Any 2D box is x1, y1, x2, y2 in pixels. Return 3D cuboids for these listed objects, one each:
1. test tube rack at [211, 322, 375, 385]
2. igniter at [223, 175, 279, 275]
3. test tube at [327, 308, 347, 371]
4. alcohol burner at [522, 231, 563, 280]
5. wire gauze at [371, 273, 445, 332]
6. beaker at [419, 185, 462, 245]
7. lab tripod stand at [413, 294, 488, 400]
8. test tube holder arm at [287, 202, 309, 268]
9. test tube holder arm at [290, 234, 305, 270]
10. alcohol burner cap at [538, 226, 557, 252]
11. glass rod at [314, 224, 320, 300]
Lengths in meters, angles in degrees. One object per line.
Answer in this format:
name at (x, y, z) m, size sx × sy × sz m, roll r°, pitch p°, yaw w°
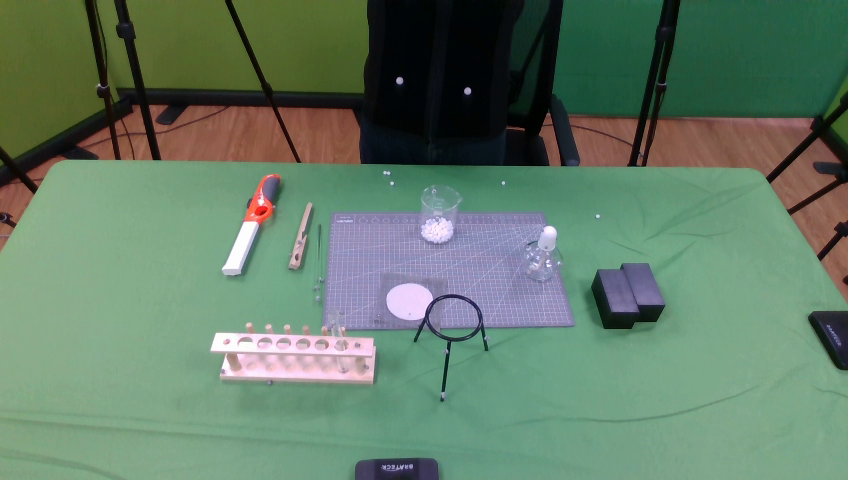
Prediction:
test tube rack at (-0.203, 0.176, 0.969) m, size 0.242 × 0.085 × 0.066 m, roll 3°, pitch 46°, yaw -2°
igniter at (-0.341, -0.039, 1.206) m, size 0.057 × 0.025 × 0.275 m, roll -1°, pitch 45°, yaw 8°
test tube at (-0.132, 0.155, 0.926) m, size 0.017 × 0.151 × 0.017 m, roll 0°, pitch 45°, yaw 0°
alcohol burner at (0.224, 0.020, 1.131) m, size 0.078 × 0.119 × 0.077 m, roll 4°, pitch 46°, yaw -4°
wire gauze at (-0.028, 0.108, 1.100) m, size 0.125 × 0.011 × 0.121 m, roll 7°, pitch 45°, yaw 4°
beaker at (0.029, -0.047, 1.191) m, size 0.084 × 0.101 × 0.073 m, roll -5°, pitch 47°, yaw -10°
lab tripod stand at (0.044, 0.159, 0.972) m, size 0.148 × 0.132 × 0.147 m, roll 2°, pitch 44°, yaw -2°
test tube holder arm at (-0.246, -0.013, 1.193) m, size 0.013 × 0.015 × 0.177 m, roll 29°, pitch 39°, yaw -26°
test tube holder arm at (-0.243, 0.021, 1.164) m, size 0.010 × 0.015 × 0.087 m, roll 29°, pitch 39°, yaw -25°
alcohol burner cap at (0.226, -0.004, 1.104) m, size 0.034 × 0.048 × 0.033 m, roll -1°, pitch 50°, yaw 1°
glass rod at (-0.204, 0.038, 1.156) m, size 0.008 × 0.008 × 0.198 m, roll -2°, pitch 44°, yaw -6°
